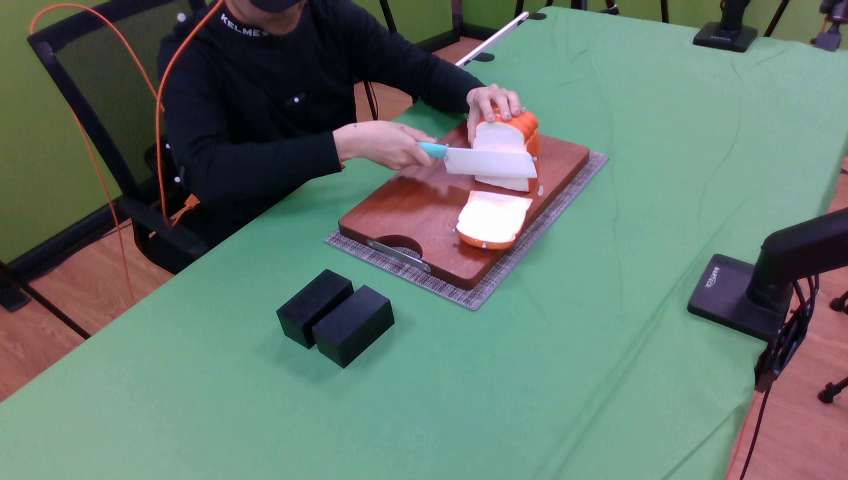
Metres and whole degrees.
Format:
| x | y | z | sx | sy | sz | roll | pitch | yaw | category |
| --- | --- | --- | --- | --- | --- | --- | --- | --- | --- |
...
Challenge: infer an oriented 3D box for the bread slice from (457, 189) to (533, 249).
| x | y | z | sx | sy | sz | roll | pitch | yaw | category |
| --- | --- | --- | --- | --- | --- | --- | --- | --- | --- |
| 0.106 | -0.032 | 0.945 | 0.104 | 0.019 | 0.131 | 11 | 40 | 16 | bread slice |

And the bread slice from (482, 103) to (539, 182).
| x | y | z | sx | sy | sz | roll | pitch | yaw | category |
| --- | --- | --- | --- | --- | --- | --- | --- | --- | --- |
| 0.145 | -0.162 | 1.008 | 0.106 | 0.135 | 0.018 | 24 | 50 | 23 | bread slice |

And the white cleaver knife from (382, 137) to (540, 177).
| x | y | z | sx | sy | sz | roll | pitch | yaw | category |
| --- | --- | --- | --- | --- | --- | --- | --- | --- | --- |
| 0.053 | -0.135 | 1.008 | 0.284 | 0.066 | 0.021 | 10 | 52 | 28 | white cleaver knife |
